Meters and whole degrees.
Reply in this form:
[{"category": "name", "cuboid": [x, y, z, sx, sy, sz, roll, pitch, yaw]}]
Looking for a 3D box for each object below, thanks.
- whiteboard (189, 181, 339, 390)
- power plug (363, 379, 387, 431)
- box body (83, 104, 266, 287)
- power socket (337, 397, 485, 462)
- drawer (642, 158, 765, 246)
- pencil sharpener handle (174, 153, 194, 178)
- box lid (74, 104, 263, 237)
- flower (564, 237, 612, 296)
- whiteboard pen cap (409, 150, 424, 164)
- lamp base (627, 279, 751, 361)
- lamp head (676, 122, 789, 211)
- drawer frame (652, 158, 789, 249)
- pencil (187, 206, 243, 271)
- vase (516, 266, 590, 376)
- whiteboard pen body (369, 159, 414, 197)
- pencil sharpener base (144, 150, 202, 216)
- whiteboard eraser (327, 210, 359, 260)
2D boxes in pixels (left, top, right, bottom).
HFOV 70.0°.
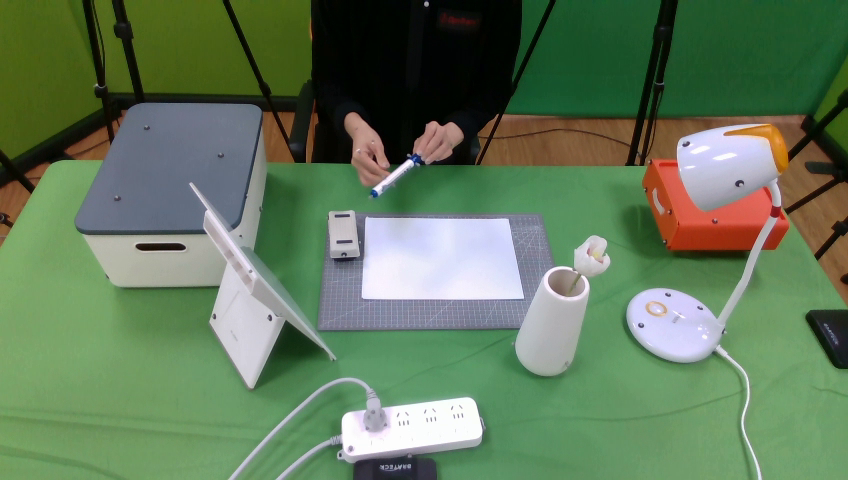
[{"category": "whiteboard", "cuboid": [-0.292, 0.096, 0.929, 0.144, 0.307, 0.216, -37, 57, -10]}, {"category": "power plug", "cuboid": [-0.072, 0.252, 0.910, 0.035, 0.053, 0.072, 3, 45, -1]}, {"category": "box body", "cuboid": [-0.447, -0.088, 1.150, 0.254, 0.161, 0.361, -1, 46, -5]}, {"category": "power socket", "cuboid": [-0.018, 0.285, 0.915, 0.227, 0.033, 0.071, -5, 46, -8]}, {"category": "drawer", "cuboid": [0.565, -0.076, 1.211, 0.212, 0.073, 0.193, 2, 45, -2]}, {"category": "pencil sharpener handle", "cuboid": [-0.479, -0.156, 1.225, 0.036, 0.068, 0.030, 24, 48, 2]}, {"category": "box lid", "cuboid": [-0.443, -0.139, 1.095, 0.263, 0.015, 0.369, -1, 45, -5]}, {"category": "flower", "cuboid": [0.206, 0.088, 0.892, 0.038, 0.363, 0.044, -17, 67, -9]}, {"category": "whiteboard pen cap", "cuboid": [-0.016, -0.152, 1.126, 0.018, 0.018, 0.033, 28, 51, 21]}, {"category": "lamp base", "cuboid": [0.459, 0.100, 1.027, 0.178, 0.181, 0.160, 27, 51, 17]}, {"category": "lamp head", "cuboid": [0.423, -0.104, 0.819, 0.122, 0.113, 0.112, -13, 33, 40]}, {"category": "drawer frame", "cuboid": [0.571, -0.075, 1.214, 0.214, 0.083, 0.200, 0, 45, -1]}, {"category": "pencil", "cuboid": [-0.401, -0.009, 1.176, 0.012, 0.012, 0.193, 15, 45, 10]}, {"category": "vase", "cuboid": [0.208, 0.132, 0.964, 0.098, 0.201, 0.097, 3, 46, -3]}, {"category": "whiteboard pen body", "cuboid": [-0.050, -0.118, 1.092, 0.017, 0.017, 0.140, 29, 50, 22]}, {"category": "pencil sharpener base", "cuboid": [-0.493, -0.113, 1.199, 0.061, 0.107, 0.076, 15, 47, 11]}, {"category": "whiteboard eraser", "cuboid": [-0.158, -0.009, 1.177, 0.055, 0.042, 0.112, -6, 47, -7]}]
